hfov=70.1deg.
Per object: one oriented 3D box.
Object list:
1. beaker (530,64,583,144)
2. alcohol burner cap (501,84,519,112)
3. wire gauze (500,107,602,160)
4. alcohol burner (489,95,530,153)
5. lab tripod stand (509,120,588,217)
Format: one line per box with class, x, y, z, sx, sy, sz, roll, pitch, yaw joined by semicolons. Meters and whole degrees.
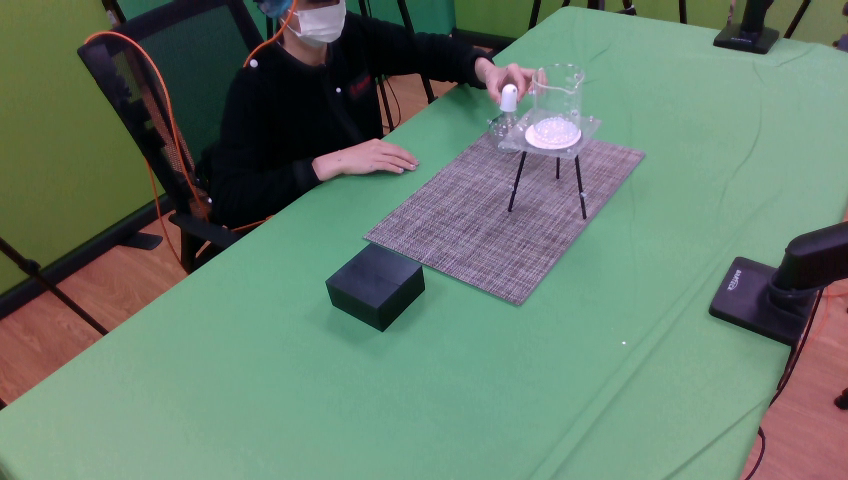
beaker;0.201;-0.201;0.909;0.074;0.101;0.083;-19;43;-10
alcohol burner cap;0.158;-0.263;1.108;0.034;0.048;0.033;-1;38;1
wire gauze;0.199;-0.166;0.945;0.120;0.011;0.125;17;50;28
alcohol burner;0.160;-0.226;1.136;0.078;0.119;0.077;-6;41;5
lab tripod stand;0.208;-0.114;0.983;0.148;0.132;0.147;-5;42;5
